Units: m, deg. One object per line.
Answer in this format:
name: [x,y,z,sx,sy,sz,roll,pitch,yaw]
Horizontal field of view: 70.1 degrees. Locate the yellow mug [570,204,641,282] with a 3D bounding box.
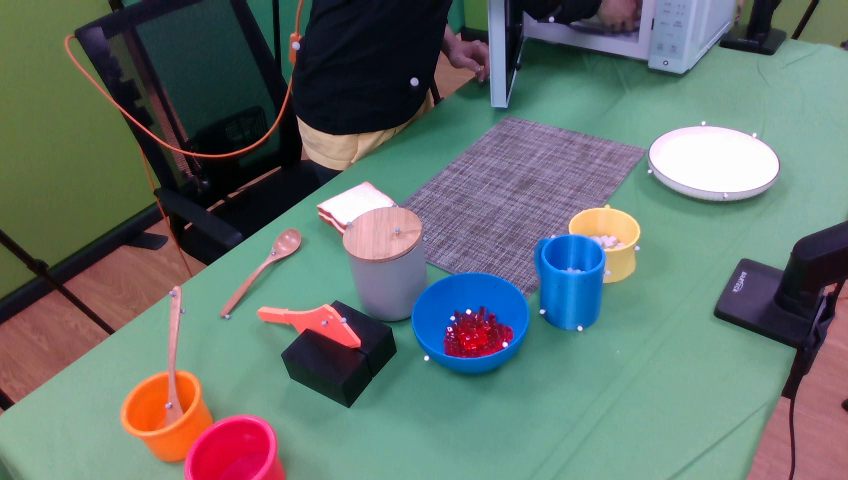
yellow mug: [0.268,-0.005,0.904,0.099,0.064,0.130,7,42,15]

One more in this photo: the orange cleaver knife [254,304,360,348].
orange cleaver knife: [-0.161,0.115,0.813,0.210,0.077,0.012,-4,33,46]

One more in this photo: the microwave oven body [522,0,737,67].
microwave oven body: [0.475,-0.602,1.411,0.438,0.261,0.327,23,50,32]

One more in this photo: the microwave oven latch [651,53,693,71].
microwave oven latch: [0.532,-0.386,1.301,0.078,0.029,0.030,27,52,34]

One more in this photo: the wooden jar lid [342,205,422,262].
wooden jar lid: [-0.055,-0.005,0.808,0.108,0.021,0.108,-6,41,6]

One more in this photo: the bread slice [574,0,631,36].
bread slice: [0.431,-0.561,1.479,0.105,0.019,0.131,-29,72,-25]

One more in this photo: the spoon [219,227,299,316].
spoon: [-0.261,0.046,0.954,0.041,0.021,0.194,27,48,10]

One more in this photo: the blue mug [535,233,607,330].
blue mug: [0.191,0.048,0.824,0.082,0.106,0.115,-26,44,-20]

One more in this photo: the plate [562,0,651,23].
plate: [0.440,-0.575,1.458,0.209,0.038,0.208,-6,43,6]

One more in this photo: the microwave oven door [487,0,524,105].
microwave oven door: [0.182,-0.488,1.314,0.039,0.245,0.355,4,42,13]

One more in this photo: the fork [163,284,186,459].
fork: [-0.303,0.157,0.733,0.028,0.019,0.207,-3,84,12]

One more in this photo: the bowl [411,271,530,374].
bowl: [0.061,0.120,0.780,0.151,0.077,0.150,-4,40,4]

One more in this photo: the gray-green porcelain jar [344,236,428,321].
gray-green porcelain jar: [-0.049,0.042,0.849,0.106,0.127,0.105,-4,41,4]

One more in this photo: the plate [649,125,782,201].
plate: [0.493,-0.128,1.036,0.207,0.039,0.206,-4,41,4]

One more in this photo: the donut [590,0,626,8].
donut: [0.436,-0.588,1.433,0.099,0.048,0.098,-2,55,4]
